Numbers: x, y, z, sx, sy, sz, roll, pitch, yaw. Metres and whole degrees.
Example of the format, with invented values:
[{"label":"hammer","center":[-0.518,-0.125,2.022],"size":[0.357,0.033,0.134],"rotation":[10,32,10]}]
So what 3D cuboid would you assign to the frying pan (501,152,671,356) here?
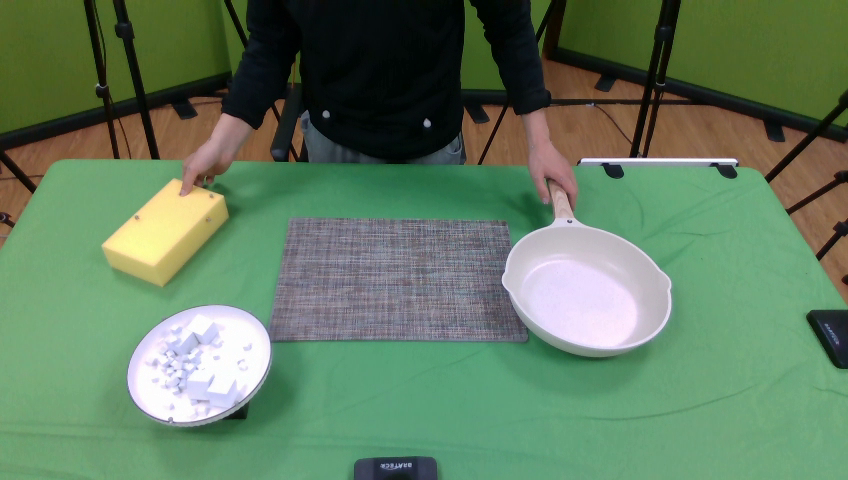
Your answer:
[{"label":"frying pan","center":[0.281,0.008,1.154],"size":[0.307,0.103,0.484],"rotation":[1,54,-6]}]

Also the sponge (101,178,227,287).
[{"label":"sponge","center":[-0.486,-0.019,1.151],"size":[0.118,0.061,0.206],"rotation":[19,47,12]}]

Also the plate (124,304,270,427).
[{"label":"plate","center":[-0.337,0.189,0.913],"size":[0.208,0.039,0.206],"rotation":[1,46,-1]}]
